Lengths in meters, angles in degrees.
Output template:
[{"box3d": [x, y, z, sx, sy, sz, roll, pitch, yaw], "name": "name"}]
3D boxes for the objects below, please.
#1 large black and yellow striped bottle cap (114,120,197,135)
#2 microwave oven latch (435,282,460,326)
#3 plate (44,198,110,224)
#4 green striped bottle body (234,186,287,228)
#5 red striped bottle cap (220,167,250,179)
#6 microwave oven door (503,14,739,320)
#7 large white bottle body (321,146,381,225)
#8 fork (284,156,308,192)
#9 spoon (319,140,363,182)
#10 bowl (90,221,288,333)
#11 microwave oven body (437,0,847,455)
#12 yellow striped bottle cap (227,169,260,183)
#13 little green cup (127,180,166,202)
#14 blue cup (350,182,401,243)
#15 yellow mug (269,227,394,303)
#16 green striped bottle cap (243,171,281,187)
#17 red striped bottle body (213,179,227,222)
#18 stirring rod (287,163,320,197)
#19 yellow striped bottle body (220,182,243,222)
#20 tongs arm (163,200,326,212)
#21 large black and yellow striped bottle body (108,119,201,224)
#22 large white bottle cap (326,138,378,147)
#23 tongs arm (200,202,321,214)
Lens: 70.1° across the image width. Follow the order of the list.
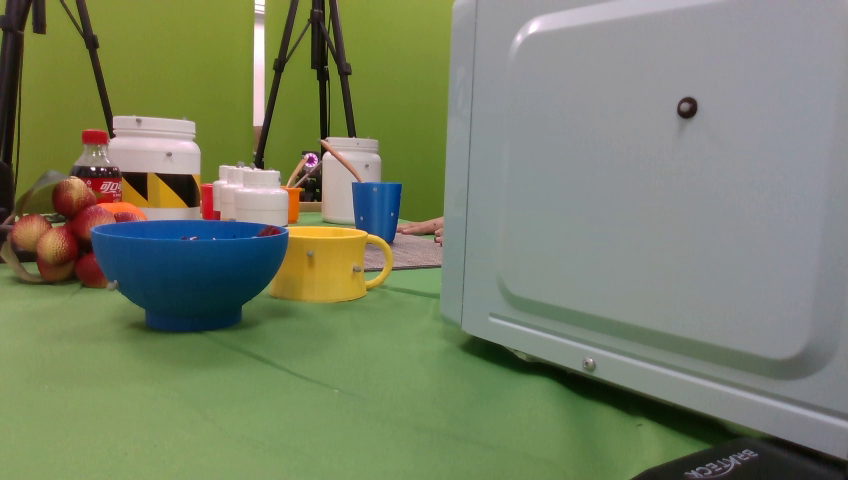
[{"box3d": [-0.407, -0.171, 0.920, 0.115, 0.019, 0.115, 2, 9, 0], "name": "large black and yellow striped bottle cap"}, {"box3d": [0.044, 0.046, 0.470, 0.079, 0.029, 0.030, -3, 8, -40], "name": "microwave oven latch"}, {"box3d": [-0.617, -0.056, 1.179, 0.209, 0.038, 0.209, 3, 7, 0], "name": "plate"}, {"box3d": [-0.201, -0.023, 0.743, 0.063, 0.119, 0.063, 2, 7, 0], "name": "green striped bottle body"}, {"box3d": [-0.281, -0.099, 0.901, 0.044, 0.017, 0.044, -1, 5, 0], "name": "red striped bottle cap"}, {"box3d": [0.218, -0.065, 0.600, 0.358, 0.243, 0.039, -4, 10, -41], "name": "microwave oven door"}, {"box3d": [-0.162, -0.131, 1.340, 0.131, 0.184, 0.130, 2, 8, 0], "name": "large white bottle body"}, {"box3d": [-0.295, -0.116, 1.323, 0.028, 0.019, 0.207, 1, 50, 21], "name": "fork"}, {"box3d": [-0.116, -0.106, 1.028, 0.193, 0.021, 0.042, 51, 28, 14], "name": "spoon"}, {"box3d": [-0.190, 0.029, 0.500, 0.151, 0.077, 0.151, 3, 7, 0], "name": "bowl"}, {"box3d": [0.280, -0.039, 0.464, 0.444, 0.260, 0.324, -3, 8, -41], "name": "microwave oven body"}, {"box3d": [-0.243, -0.086, 0.818, 0.044, 0.018, 0.044, 3, 6, 0], "name": "yellow striped bottle cap"}, {"box3d": [-0.486, -0.086, 1.061, 0.061, 0.038, 0.061, 1, 7, 0], "name": "little green cup"}, {"box3d": [-0.080, -0.047, 1.011, 0.093, 0.100, 0.092, 0, 6, 0], "name": "blue cup"}, {"box3d": [-0.094, 0.023, 0.629, 0.131, 0.064, 0.099, 0, 7, -22], "name": "yellow mug"}, {"box3d": [-0.198, -0.074, 0.736, 0.044, 0.020, 0.044, 1, 7, 0], "name": "green striped bottle cap"}, {"box3d": [-0.284, -0.048, 0.910, 0.063, 0.119, 0.063, 3, 12, 0], "name": "red striped bottle body"}, {"box3d": [-0.283, -0.107, 1.298, 0.014, 0.006, 0.176, 11, 53, 50], "name": "stirring rod"}, {"box3d": [-0.246, -0.036, 0.825, 0.063, 0.120, 0.063, 3, 8, 0], "name": "yellow striped bottle body"}, {"box3d": [-0.433, -0.083, 1.490, 0.389, 0.027, 0.028, -1, 0, -27], "name": "tongs arm"}, {"box3d": [-0.412, -0.088, 0.930, 0.131, 0.184, 0.130, 3, 7, 0], "name": "large black and yellow striped bottle body"}, {"box3d": [-0.158, -0.214, 1.329, 0.115, 0.018, 0.115, 2, 8, 0], "name": "large white bottle cap"}, {"box3d": [-0.380, -0.076, 1.420, 0.387, 0.026, 0.050, -4, 5, -42], "name": "tongs arm"}]
